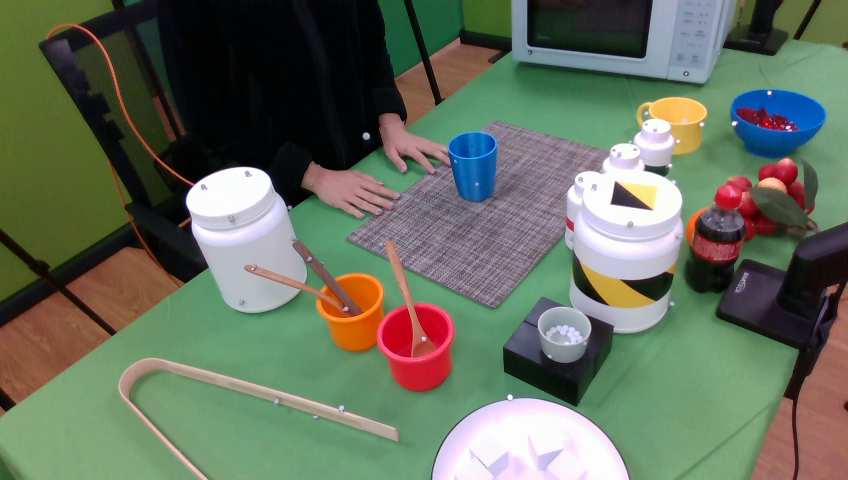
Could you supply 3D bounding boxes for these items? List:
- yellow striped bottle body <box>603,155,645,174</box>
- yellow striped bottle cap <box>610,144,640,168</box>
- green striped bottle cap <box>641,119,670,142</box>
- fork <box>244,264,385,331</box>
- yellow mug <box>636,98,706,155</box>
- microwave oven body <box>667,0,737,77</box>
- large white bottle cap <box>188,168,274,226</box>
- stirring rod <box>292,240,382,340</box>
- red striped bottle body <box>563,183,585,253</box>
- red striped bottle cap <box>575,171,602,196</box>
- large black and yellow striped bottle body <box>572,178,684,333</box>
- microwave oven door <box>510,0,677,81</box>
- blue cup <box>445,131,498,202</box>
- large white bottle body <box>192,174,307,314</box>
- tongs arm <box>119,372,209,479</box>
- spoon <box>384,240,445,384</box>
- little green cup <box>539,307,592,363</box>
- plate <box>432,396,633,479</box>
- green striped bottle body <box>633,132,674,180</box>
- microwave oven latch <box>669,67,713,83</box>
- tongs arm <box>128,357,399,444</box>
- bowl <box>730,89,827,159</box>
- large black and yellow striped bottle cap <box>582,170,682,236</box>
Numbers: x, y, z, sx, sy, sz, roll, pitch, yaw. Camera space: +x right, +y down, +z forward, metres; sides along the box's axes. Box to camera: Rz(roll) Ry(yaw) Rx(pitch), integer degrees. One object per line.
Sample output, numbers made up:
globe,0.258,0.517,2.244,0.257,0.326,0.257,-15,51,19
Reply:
yellow striped bottle body,0.313,-0.089,0.956,0.063,0.121,0.062,-4,39,4
yellow striped bottle cap,0.307,-0.128,0.923,0.044,0.019,0.044,-5,40,5
green striped bottle cap,0.371,-0.175,0.968,0.044,0.020,0.044,-5,41,5
fork,-0.142,0.078,0.806,0.209,0.018,0.028,30,33,-24
yellow mug,0.453,-0.218,1.128,0.100,0.064,0.129,-34,46,-27
microwave oven body,0.462,-0.552,1.369,0.439,0.261,0.326,15,45,26
large white bottle cap,-0.264,-0.061,0.831,0.115,0.018,0.114,-4,40,4
stirring rod,-0.119,0.068,0.825,0.176,0.006,0.014,49,58,-3
red striped bottle body,0.246,-0.041,0.910,0.063,0.120,0.062,-2,38,2
red striped bottle cap,0.242,-0.081,0.876,0.044,0.018,0.044,-5,43,5
large black and yellow striped bottle body,0.262,0.017,0.788,0.131,0.185,0.130,-5,40,4
microwave oven door,0.354,-0.478,1.290,0.353,0.245,0.039,15,45,25
blue cup,0.087,-0.122,1.040,0.092,0.100,0.092,-5,42,5
large white bottle body,-0.256,0.003,0.885,0.130,0.185,0.130,-5,40,4
tongs arm,-0.258,0.257,0.700,0.384,0.028,0.028,24,55,34
spoon,-0.016,0.090,0.776,0.042,0.021,0.193,-17,85,-11
little green cup,0.168,0.114,0.721,0.061,0.039,0.061,-4,43,4
plate,0.112,0.261,0.634,0.209,0.038,0.208,-5,40,4
green striped bottle body,0.376,-0.135,1.001,0.063,0.120,0.063,-5,40,5
microwave oven latch,0.556,-0.349,1.261,0.078,0.029,0.030,17,46,27
tongs arm,-0.213,0.205,0.755,0.382,0.026,0.051,12,46,23
bowl,0.615,-0.197,1.069,0.151,0.077,0.150,-5,40,5
large black and yellow striped bottle cap,0.252,-0.048,0.735,0.115,0.019,0.114,-3,40,3
